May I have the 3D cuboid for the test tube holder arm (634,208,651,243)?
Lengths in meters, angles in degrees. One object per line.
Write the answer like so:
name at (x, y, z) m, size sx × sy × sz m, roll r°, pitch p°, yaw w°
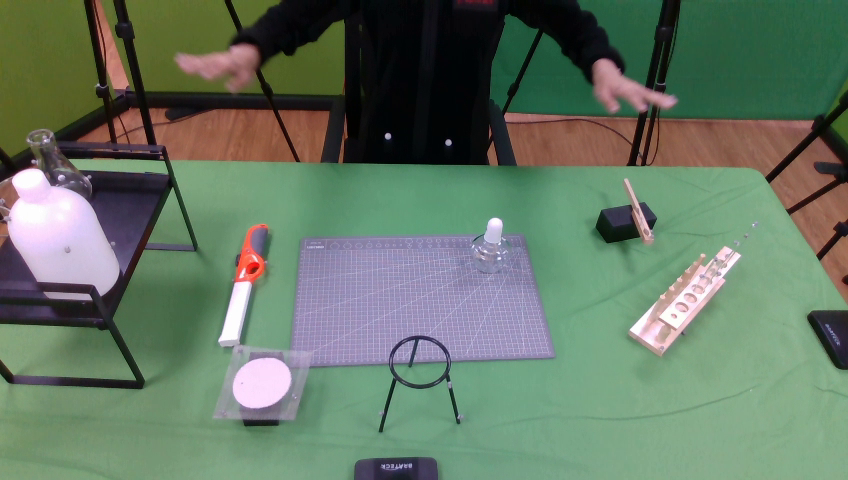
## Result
test tube holder arm at (0.428, -0.030, 1.189) m, size 0.010 × 0.015 × 0.087 m, roll 1°, pitch 47°, yaw -2°

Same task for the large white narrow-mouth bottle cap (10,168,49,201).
large white narrow-mouth bottle cap at (-0.479, -0.067, 0.738) m, size 0.038 × 0.024 × 0.037 m, roll 2°, pitch 46°, yaw -2°

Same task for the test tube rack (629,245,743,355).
test tube rack at (0.474, 0.095, 1.091) m, size 0.242 × 0.085 × 0.066 m, roll -34°, pitch 56°, yaw -31°

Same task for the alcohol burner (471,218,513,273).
alcohol burner at (0.128, 0.005, 1.132) m, size 0.078 × 0.120 × 0.077 m, roll 0°, pitch 47°, yaw 0°

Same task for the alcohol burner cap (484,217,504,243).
alcohol burner cap at (0.129, -0.021, 1.107) m, size 0.034 × 0.048 × 0.033 m, roll 4°, pitch 40°, yaw -3°

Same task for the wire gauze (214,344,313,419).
wire gauze at (-0.241, 0.213, 0.916) m, size 0.121 × 0.011 × 0.124 m, roll 5°, pitch 46°, yaw 1°

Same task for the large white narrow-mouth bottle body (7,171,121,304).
large white narrow-mouth bottle body at (-0.482, -0.008, 0.800) m, size 0.102 × 0.195 × 0.101 m, roll 2°, pitch 46°, yaw -2°

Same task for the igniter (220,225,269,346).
igniter at (-0.323, 0.072, 1.100) m, size 0.057 × 0.025 × 0.274 m, roll -6°, pitch 46°, yaw 5°

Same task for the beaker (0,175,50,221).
beaker at (-0.569, -0.035, 0.886) m, size 0.074 × 0.101 × 0.083 m, roll -12°, pitch 48°, yaw -14°

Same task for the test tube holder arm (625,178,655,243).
test tube holder arm at (0.433, -0.063, 1.220) m, size 0.013 × 0.015 × 0.177 m, roll 1°, pitch 47°, yaw -3°

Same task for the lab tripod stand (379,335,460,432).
lab tripod stand at (-0.011, 0.214, 0.911) m, size 0.148 × 0.132 × 0.147 m, roll 1°, pitch 45°, yaw 0°

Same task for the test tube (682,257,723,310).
test tube at (0.475, 0.080, 1.037) m, size 0.017 × 0.151 × 0.017 m, roll 1°, pitch 50°, yaw -1°

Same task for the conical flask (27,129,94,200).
conical flask at (-0.575, -0.113, 0.946) m, size 0.075 × 0.122 × 0.075 m, roll 2°, pitch 46°, yaw -2°

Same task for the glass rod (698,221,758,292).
glass rod at (0.527, 0.035, 1.059) m, size 0.008 × 0.200 × 0.008 m, roll 5°, pitch 49°, yaw -6°
